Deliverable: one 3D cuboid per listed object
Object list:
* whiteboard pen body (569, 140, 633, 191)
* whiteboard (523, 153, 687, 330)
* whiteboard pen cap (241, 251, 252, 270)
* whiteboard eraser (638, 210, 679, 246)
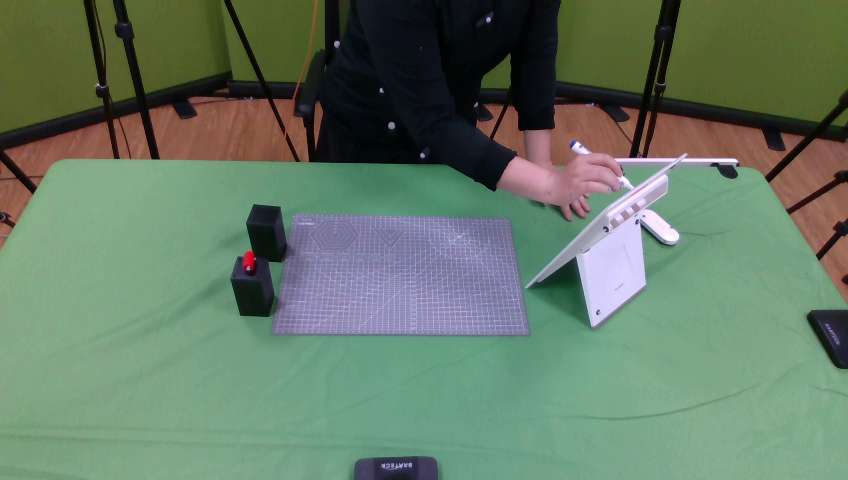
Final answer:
[{"bbox_3d":[0.306,-0.123,1.032,0.140,0.017,0.017,40,53,7],"label":"whiteboard pen body"},{"bbox_3d":[0.347,0.025,1.046,0.217,0.306,0.143,-30,74,-29],"label":"whiteboard"},{"bbox_3d":[-0.293,0.033,1.006,0.017,0.017,0.032,-3,44,-7],"label":"whiteboard pen cap"},{"bbox_3d":[0.486,-0.026,1.260,0.041,0.019,0.100,-21,50,-20],"label":"whiteboard eraser"}]
